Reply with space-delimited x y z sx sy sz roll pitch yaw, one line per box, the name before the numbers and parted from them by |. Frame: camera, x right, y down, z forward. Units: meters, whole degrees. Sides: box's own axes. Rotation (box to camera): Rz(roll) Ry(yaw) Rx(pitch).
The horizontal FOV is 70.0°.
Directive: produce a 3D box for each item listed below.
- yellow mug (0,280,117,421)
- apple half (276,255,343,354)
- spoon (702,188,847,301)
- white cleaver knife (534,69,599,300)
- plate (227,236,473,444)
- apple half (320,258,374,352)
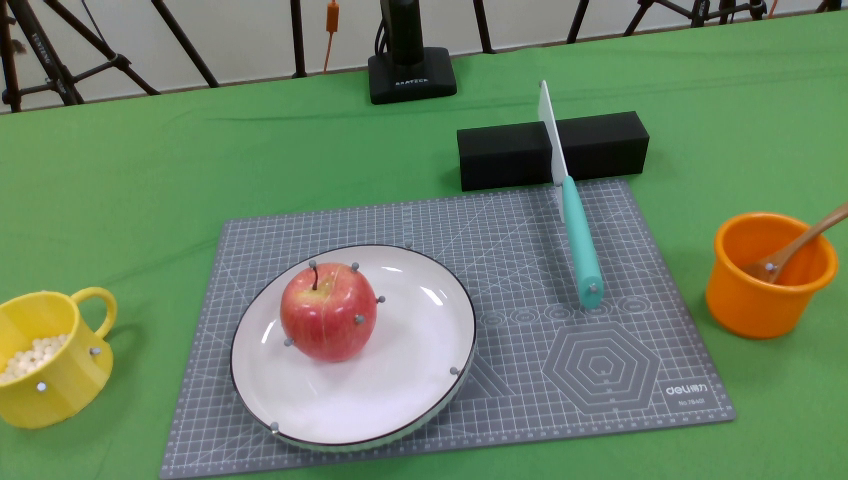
yellow mug | -0.328 0.086 0.533 0.099 0.064 0.130 20 50 24
apple half | -0.096 0.055 0.516 0.053 0.075 0.080 0 49 13
spoon | 0.316 -0.011 0.497 0.022 0.194 0.041 27 33 -30
white cleaver knife | 0.140 -0.064 0.620 0.021 0.066 0.283 -5 56 4
plate | -0.061 0.082 0.523 0.209 0.038 0.207 -3 46 3
apple half | -0.058 0.056 0.509 0.032 0.082 0.080 -1 46 13
